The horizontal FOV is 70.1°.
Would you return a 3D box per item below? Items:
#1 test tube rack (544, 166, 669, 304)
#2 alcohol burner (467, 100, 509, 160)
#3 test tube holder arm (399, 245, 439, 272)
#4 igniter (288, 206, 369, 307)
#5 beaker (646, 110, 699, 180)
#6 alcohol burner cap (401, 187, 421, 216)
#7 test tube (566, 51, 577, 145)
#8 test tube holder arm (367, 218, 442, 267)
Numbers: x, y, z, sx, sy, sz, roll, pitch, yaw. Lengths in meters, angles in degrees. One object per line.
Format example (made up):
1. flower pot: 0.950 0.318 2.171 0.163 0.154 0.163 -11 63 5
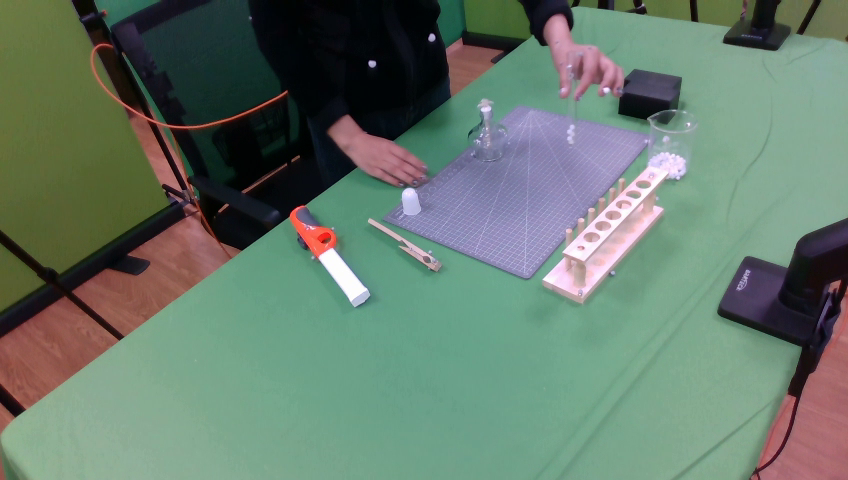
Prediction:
1. test tube rack: 0.274 -0.018 0.903 0.066 0.085 0.243 26 51 35
2. alcohol burner: 0.118 -0.210 1.131 0.078 0.120 0.077 -6 42 6
3. test tube holder arm: -0.009 0.026 0.956 0.087 0.015 0.010 35 90 40
4. igniter: -0.163 0.017 0.986 0.057 0.025 0.274 -33 45 -12
5. beaker: 0.417 -0.160 1.032 0.083 0.101 0.074 25 51 34
6. alcohol burner cap: -0.025 -0.070 1.048 0.034 0.048 0.033 -5 41 5
7. test tube: 0.229 -0.218 0.940 0.017 0.151 0.017 -6 33 4
8. test tube holder arm: -0.035 0.003 0.985 0.177 0.015 0.013 33 89 40
